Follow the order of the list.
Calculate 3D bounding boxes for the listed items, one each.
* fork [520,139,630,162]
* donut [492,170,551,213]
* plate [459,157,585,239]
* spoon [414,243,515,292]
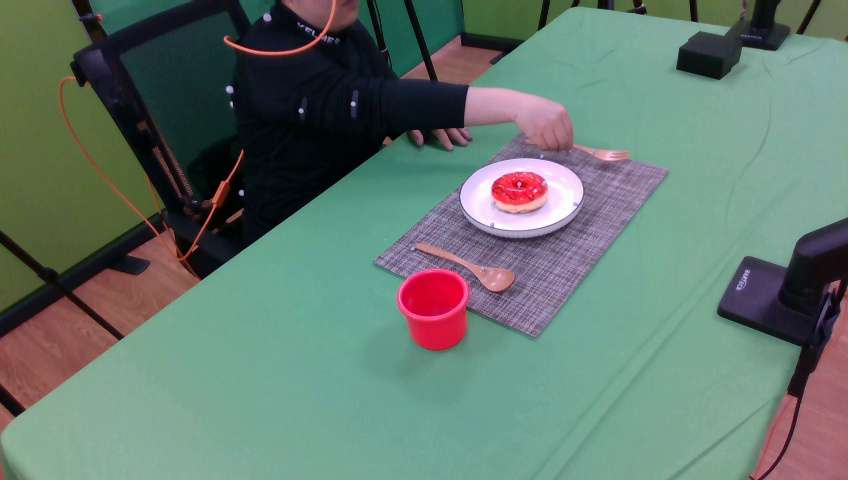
[{"bbox_3d":[0.273,-0.168,1.111,0.206,0.019,0.028,16,57,25],"label":"fork"},{"bbox_3d":[0.163,-0.083,1.015,0.099,0.048,0.098,-6,37,5],"label":"donut"},{"bbox_3d":[0.163,-0.068,1.015,0.209,0.038,0.208,-5,40,5],"label":"plate"},{"bbox_3d":[0.057,0.035,0.924,0.192,0.022,0.041,25,68,34],"label":"spoon"}]
